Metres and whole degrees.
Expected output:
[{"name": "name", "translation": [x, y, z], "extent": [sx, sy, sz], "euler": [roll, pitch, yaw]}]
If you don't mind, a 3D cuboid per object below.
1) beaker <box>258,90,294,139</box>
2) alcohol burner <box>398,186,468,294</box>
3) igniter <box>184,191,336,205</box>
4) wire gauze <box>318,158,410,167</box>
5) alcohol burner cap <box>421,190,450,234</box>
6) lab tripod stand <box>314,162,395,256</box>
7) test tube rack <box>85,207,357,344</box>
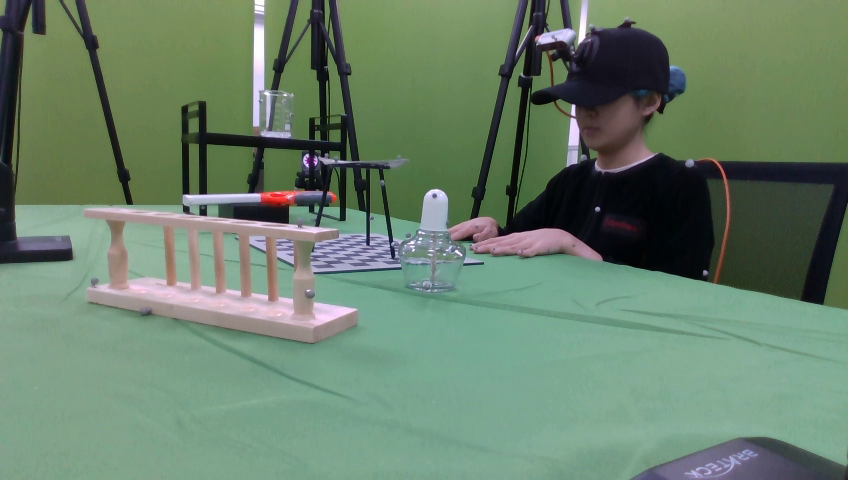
[{"name": "beaker", "translation": [-0.324, -0.274, 1.331], "extent": [0.083, 0.100, 0.074], "euler": [7, 9, 24]}, {"name": "alcohol burner", "translation": [0.011, -0.001, 0.669], "extent": [0.078, 0.119, 0.078], "euler": [5, 8, 0]}, {"name": "igniter", "translation": [-0.298, -0.078, 1.126], "extent": [0.278, 0.025, 0.057], "euler": [-4, 13, -32]}, {"name": "wire gauze", "translation": [-0.090, -0.114, 0.888], "extent": [0.122, 0.011, 0.124], "euler": [0, 6, -15]}, {"name": "alcohol burner cap", "translation": [0.014, -0.031, 0.665], "extent": [0.034, 0.048, 0.034], "euler": [5, 9, 0]}, {"name": "lab tripod stand", "translation": [-0.098, -0.048, 0.897], "extent": [0.148, 0.131, 0.148], "euler": [1, 6, 0]}, {"name": "test tube rack", "translation": [-0.177, 0.022, 0.518], "extent": [0.241, 0.085, 0.067], "euler": [6, 7, 23]}]
